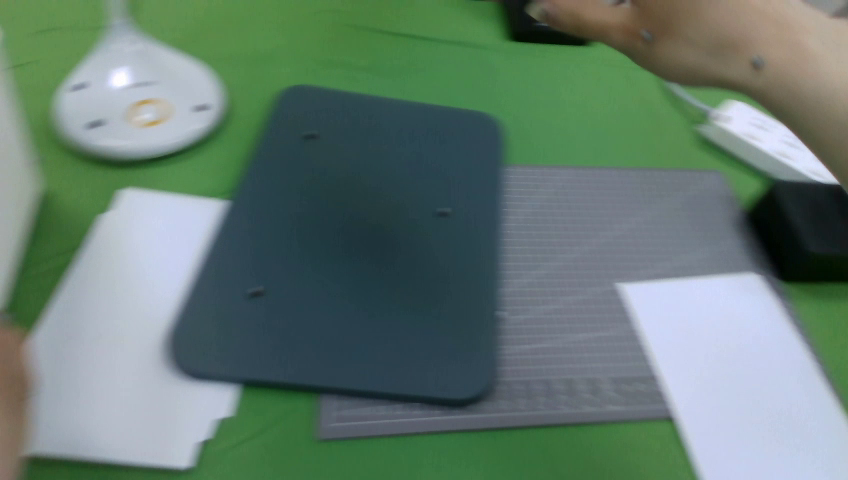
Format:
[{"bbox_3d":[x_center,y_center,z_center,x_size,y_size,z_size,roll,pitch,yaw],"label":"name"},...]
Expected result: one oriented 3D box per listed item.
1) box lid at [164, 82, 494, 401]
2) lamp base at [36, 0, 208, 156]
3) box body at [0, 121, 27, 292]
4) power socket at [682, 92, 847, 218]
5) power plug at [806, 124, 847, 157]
[{"bbox_3d":[-0.064,-0.025,0.579,0.263,0.015,0.368,7,50,-3],"label":"box lid"},{"bbox_3d":[-0.305,-0.199,0.570,0.161,0.181,0.177,-28,57,-28],"label":"lamp base"},{"bbox_3d":[-0.430,0.034,0.367,0.255,0.161,0.360,-4,52,-14],"label":"box body"},{"bbox_3d":[0.422,-0.105,0.718,0.225,0.033,0.072,37,54,20],"label":"power socket"},{"bbox_3d":[0.513,-0.122,0.760,0.053,0.035,0.072,-29,25,-34],"label":"power plug"}]
